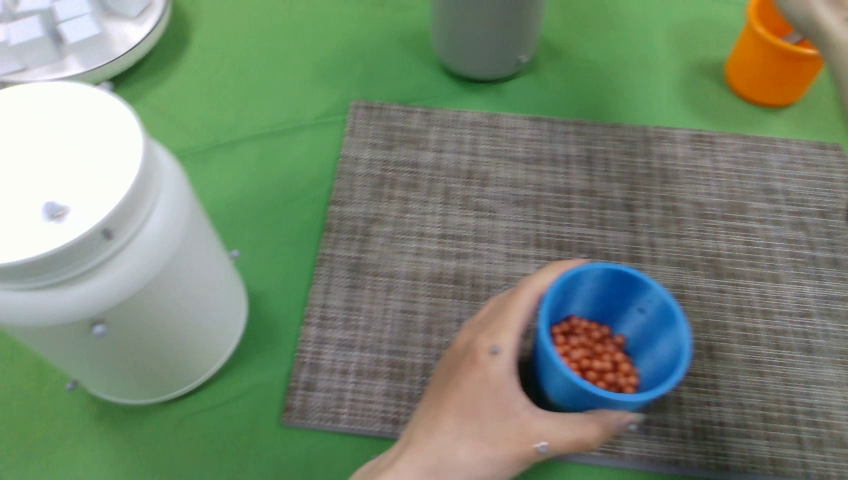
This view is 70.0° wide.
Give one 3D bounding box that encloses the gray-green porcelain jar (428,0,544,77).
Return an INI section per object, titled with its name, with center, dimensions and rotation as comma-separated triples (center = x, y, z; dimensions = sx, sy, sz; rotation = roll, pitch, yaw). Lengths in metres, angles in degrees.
[gray-green porcelain jar]
center = 0.057, -0.223, 0.552
dimensions = 0.106, 0.127, 0.105
rotation = 1, 59, -1

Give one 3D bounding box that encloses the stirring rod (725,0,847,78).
[stirring rod]
center = 0.358, -0.198, 0.539
dimensions = 0.176, 0.006, 0.014
rotation = -30, 57, 30

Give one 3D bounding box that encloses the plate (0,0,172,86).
[plate]
center = -0.347, -0.214, 0.586
dimensions = 0.208, 0.039, 0.205
rotation = 1, 59, -1

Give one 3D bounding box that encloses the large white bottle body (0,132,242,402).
[large white bottle body]
center = -0.196, 0.011, 0.369
dimensions = 0.131, 0.186, 0.129
rotation = 1, 59, -1

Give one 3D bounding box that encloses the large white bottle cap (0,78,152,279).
[large white bottle cap]
center = -0.195, -0.034, 0.297
dimensions = 0.115, 0.018, 0.114
rotation = 1, 58, -1

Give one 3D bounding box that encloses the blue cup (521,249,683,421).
[blue cup]
center = 0.101, 0.073, 0.385
dimensions = 0.093, 0.101, 0.092
rotation = 2, 59, -3
